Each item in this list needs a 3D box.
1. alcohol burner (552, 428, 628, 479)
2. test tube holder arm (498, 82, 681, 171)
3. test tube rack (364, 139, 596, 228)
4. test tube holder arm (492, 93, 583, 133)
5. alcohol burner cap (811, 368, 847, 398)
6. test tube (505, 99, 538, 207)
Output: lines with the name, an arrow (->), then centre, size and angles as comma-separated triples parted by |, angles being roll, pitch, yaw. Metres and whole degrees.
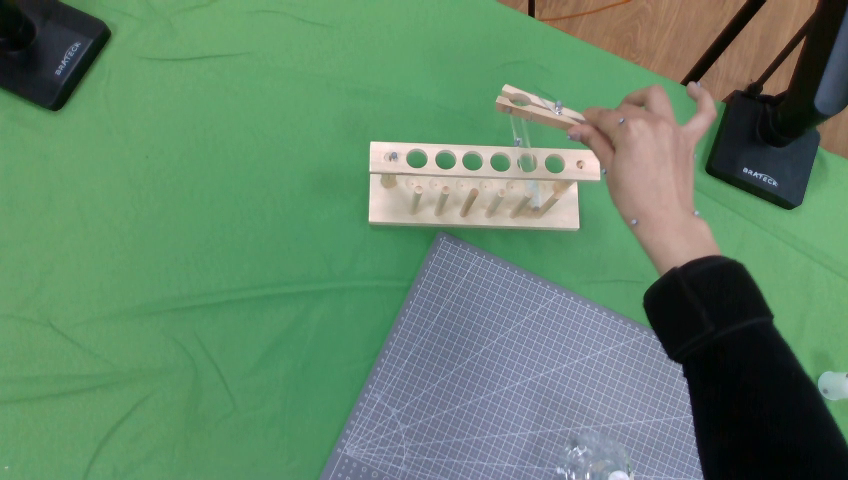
alcohol burner -> 0.168, 0.225, 0.591 | 0.078, 0.119, 0.077 | 1, 78, -5
test tube holder arm -> 0.147, -0.104, 0.551 | 0.177, 0.015, 0.013 | 26, 78, 15
test tube rack -> 0.057, -0.059, 0.664 | 0.243, 0.085, 0.066 | 2, 76, -5
test tube holder arm -> 0.105, -0.117, 0.561 | 0.087, 0.015, 0.010 | 19, 76, 13
alcohol burner cap -> 0.462, 0.159, 0.674 | 0.034, 0.048, 0.033 | 1, 75, -4
test tube -> 0.102, -0.085, 0.631 | 0.017, 0.152, 0.017 | -9, 51, 12
